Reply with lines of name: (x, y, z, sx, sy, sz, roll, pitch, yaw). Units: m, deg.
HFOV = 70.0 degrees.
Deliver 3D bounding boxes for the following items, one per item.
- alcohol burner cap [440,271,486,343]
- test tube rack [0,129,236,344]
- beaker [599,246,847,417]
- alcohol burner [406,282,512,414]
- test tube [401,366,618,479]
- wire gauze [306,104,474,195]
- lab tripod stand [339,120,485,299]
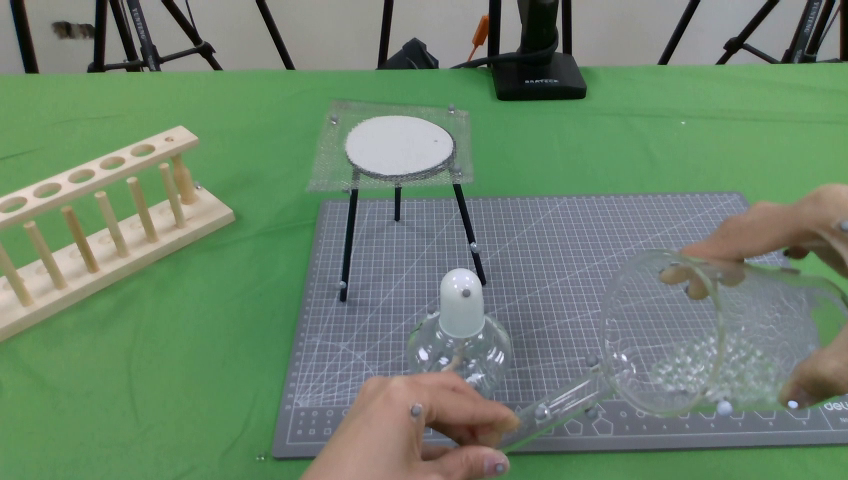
alcohol burner cap: (0.026, 0.042, 0.406, 0.034, 0.048, 0.033, -2, 40, 2)
test tube rack: (-0.302, -0.009, 0.549, 0.242, 0.086, 0.066, -33, 50, -32)
beaker: (0.146, 0.048, 0.291, 0.101, 0.084, 0.073, 6, 48, -22)
alcohol burner: (0.025, 0.069, 0.429, 0.078, 0.120, 0.077, 0, 42, 0)
test tube: (0.038, 0.110, 0.328, 0.150, 0.017, 0.017, -38, 35, 23)
wire gauze: (-0.023, -0.074, 0.478, 0.121, 0.011, 0.124, 1, 41, 1)
lab tripod stand: (-0.014, -0.025, 0.524, 0.148, 0.132, 0.147, 1, 40, 0)
